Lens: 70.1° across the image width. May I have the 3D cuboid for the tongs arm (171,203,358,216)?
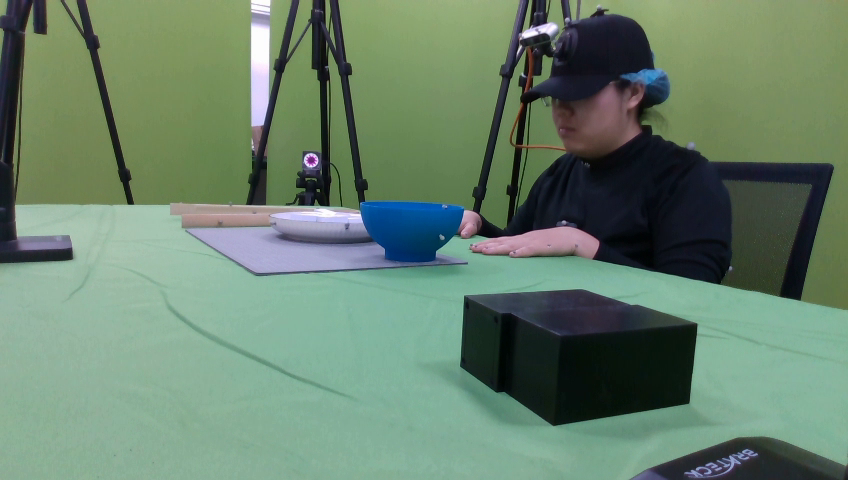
[{"bbox_3d":[-0.331,-0.058,1.295,0.387,0.026,0.050,0,8,-25],"label":"tongs arm"}]

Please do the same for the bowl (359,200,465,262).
[{"bbox_3d":[-0.018,-0.013,0.859,0.151,0.077,0.151,2,7,0],"label":"bowl"}]

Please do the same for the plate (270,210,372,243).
[{"bbox_3d":[-0.161,-0.023,1.054,0.208,0.039,0.207,2,7,0],"label":"plate"}]

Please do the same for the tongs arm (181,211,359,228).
[{"bbox_3d":[-0.291,-0.043,1.225,0.390,0.028,0.028,-3,7,-38],"label":"tongs arm"}]
